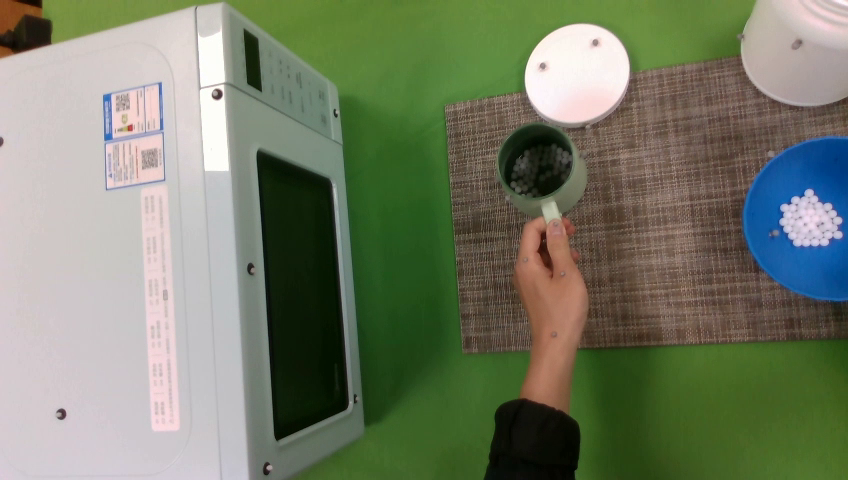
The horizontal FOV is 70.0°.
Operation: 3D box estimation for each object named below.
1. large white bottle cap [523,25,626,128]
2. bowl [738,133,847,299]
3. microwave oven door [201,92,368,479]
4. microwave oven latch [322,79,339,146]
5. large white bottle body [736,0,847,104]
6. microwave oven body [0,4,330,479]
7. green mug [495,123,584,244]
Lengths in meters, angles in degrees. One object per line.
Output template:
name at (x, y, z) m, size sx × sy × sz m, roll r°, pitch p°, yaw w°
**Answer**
large white bottle cap at (0.169, -0.185, 0.684) m, size 0.114 × 0.018 × 0.114 m, roll -1°, pitch 85°, yaw 16°
bowl at (0.377, -0.019, 0.578) m, size 0.151 × 0.077 × 0.151 m, roll -1°, pitch 86°, yaw 18°
microwave oven door at (-0.135, 0.053, 0.628) m, size 0.039 × 0.245 × 0.355 m, roll -8°, pitch 84°, yaw 17°
microwave oven latch at (-0.124, -0.155, 0.745) m, size 0.030 × 0.029 × 0.079 m, roll -8°, pitch 85°, yaw 16°
large white bottle body at (0.364, -0.213, 0.539) m, size 0.130 × 0.186 × 0.130 m, roll -2°, pitch 81°, yaw 17°
microwave oven body at (-0.277, 0.030, 0.677) m, size 0.325 × 0.261 × 0.440 m, roll -7°, pitch 85°, yaw 16°
green mug at (0.127, -0.056, 0.642) m, size 0.092 × 0.105 × 0.125 m, roll -18°, pitch 81°, yaw 14°
